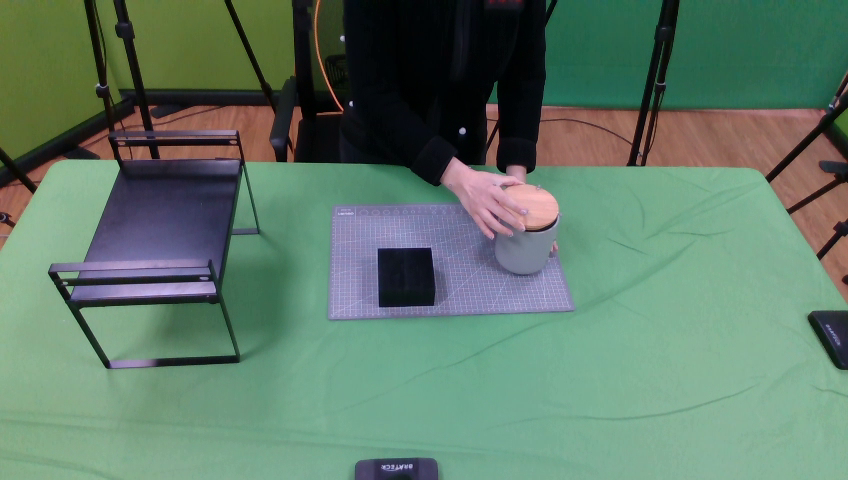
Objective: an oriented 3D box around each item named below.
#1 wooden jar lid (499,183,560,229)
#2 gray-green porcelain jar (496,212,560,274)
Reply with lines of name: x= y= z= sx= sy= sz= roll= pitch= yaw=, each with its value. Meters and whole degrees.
wooden jar lid: x=0.186 y=-0.058 z=1.079 sx=0.108 sy=0.021 sz=0.107 roll=4 pitch=47 yaw=-4
gray-green porcelain jar: x=0.192 y=-0.007 z=1.141 sx=0.106 sy=0.127 sz=0.105 roll=2 pitch=46 yaw=-2
